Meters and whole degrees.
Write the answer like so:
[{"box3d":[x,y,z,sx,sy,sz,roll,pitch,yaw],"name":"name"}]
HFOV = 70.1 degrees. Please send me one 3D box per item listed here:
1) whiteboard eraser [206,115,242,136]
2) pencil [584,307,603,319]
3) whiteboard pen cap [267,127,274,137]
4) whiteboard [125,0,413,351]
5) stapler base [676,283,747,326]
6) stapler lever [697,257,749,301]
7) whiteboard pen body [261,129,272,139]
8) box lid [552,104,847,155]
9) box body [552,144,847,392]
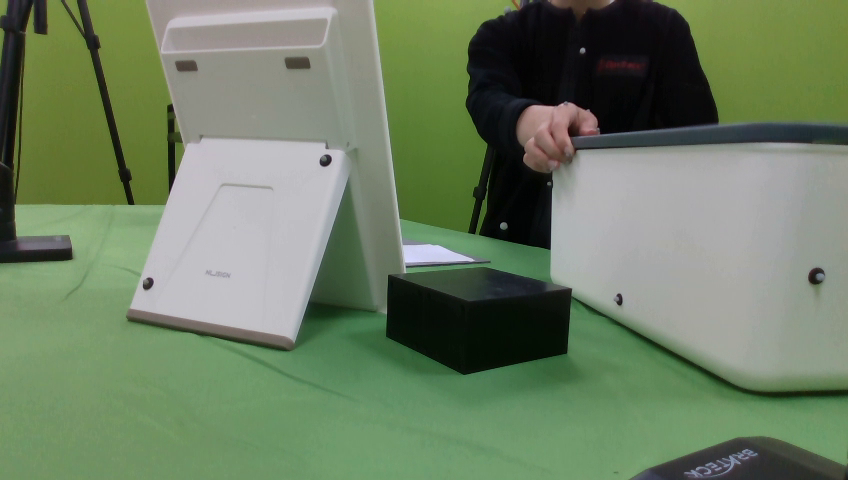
[{"box3d":[-0.438,-0.249,1.320,0.056,0.042,0.112,-3,9,-30],"name":"whiteboard eraser"},{"box3d":[0.250,0.054,0.655,0.195,0.012,0.012,-14,14,-25],"name":"pencil"},{"box3d":[-0.340,-0.239,1.337,0.018,0.018,0.033,1,-1,-14],"name":"whiteboard pen cap"},{"box3d":[-0.151,-0.050,0.471,0.216,0.305,0.144,6,27,24],"name":"whiteboard"},{"box3d":[0.283,0.058,0.585,0.041,0.024,0.131,28,17,34],"name":"stapler base"},{"box3d":[0.290,0.035,0.581,0.026,0.040,0.119,28,18,34],"name":"stapler lever"},{"box3d":[-0.361,-0.245,1.393,0.017,0.017,0.140,0,5,-20],"name":"whiteboard pen body"},{"box3d":[0.295,-0.087,0.537,0.264,0.015,0.370,-1,5,-9],"name":"box lid"},{"box3d":[0.290,0.002,0.549,0.255,0.160,0.363,2,7,-10],"name":"box body"}]
